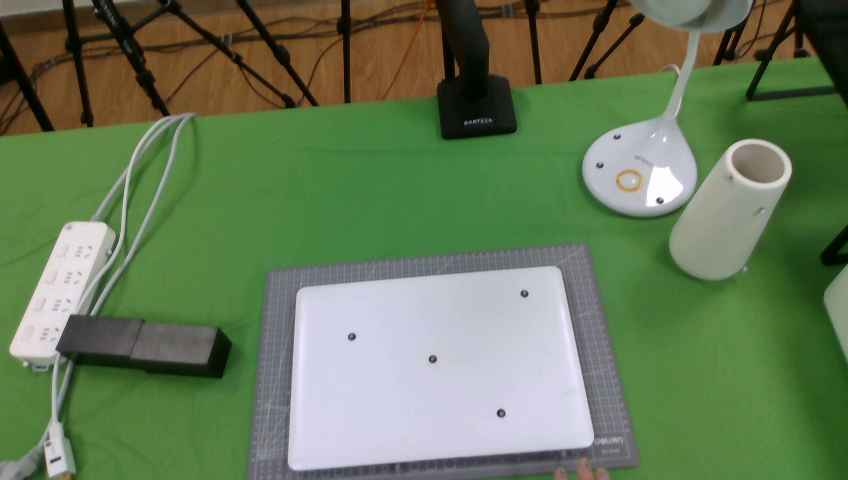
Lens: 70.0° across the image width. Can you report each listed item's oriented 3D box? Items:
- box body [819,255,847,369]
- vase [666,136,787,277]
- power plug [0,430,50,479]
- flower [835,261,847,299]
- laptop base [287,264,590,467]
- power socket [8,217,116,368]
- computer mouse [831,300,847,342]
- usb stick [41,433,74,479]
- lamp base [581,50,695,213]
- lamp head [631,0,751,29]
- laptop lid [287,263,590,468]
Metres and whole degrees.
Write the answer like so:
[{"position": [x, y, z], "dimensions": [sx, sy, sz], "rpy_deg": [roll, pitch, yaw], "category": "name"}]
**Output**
[{"position": [0.618, 0.156, 0.625], "dimensions": [0.254, 0.162, 0.360], "rpy_deg": [-4, 59, 2], "category": "box body"}, {"position": [0.363, -0.037, 0.737], "dimensions": [0.098, 0.202, 0.097], "rpy_deg": [-3, 58, 5], "category": "vase"}, {"position": [-0.483, 0.266, 0.723], "dimensions": [0.052, 0.035, 0.072], "rpy_deg": [-14, 17, 22], "category": "power plug"}, {"position": [0.544, 0.189, 0.659], "dimensions": [0.044, 0.038, 0.358], "rpy_deg": [11, 59, -43], "category": "flower"}, {"position": [0.010, 0.149, 0.757], "dimensions": [0.354, 0.023, 0.233], "rpy_deg": [-5, 62, 1], "category": "laptop base"}, {"position": [-0.494, 0.064, 0.835], "dimensions": [0.072, 0.033, 0.225], "rpy_deg": [2, 59, 5], "category": "power socket"}, {"position": [0.542, 0.117, 0.718], "dimensions": [0.063, 0.041, 0.116], "rpy_deg": [-11, 51, 3], "category": "computer mouse"}, {"position": [-0.431, 0.261, 0.715], "dimensions": [0.021, 0.027, 0.058], "rpy_deg": [-21, 67, -16], "category": "usb stick"}, {"position": [0.311, -0.157, 0.824], "dimensions": [0.160, 0.182, 0.178], "rpy_deg": [25, 61, 18], "category": "lamp base"}, {"position": [0.253, -0.269, 0.546], "dimensions": [0.112, 0.113, 0.122], "rpy_deg": [22, 81, 17], "category": "lamp head"}, {"position": [0.009, 0.145, 0.745], "dimensions": [0.357, 0.013, 0.239], "rpy_deg": [-4, 61, 2], "category": "laptop lid"}]
